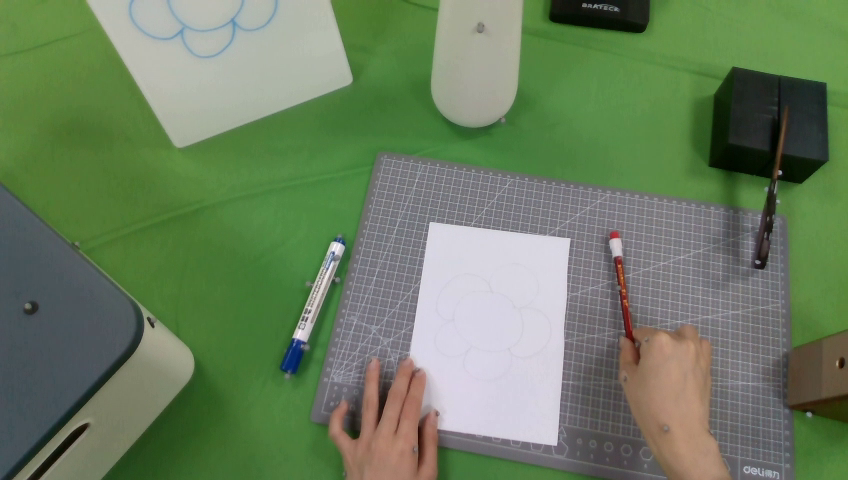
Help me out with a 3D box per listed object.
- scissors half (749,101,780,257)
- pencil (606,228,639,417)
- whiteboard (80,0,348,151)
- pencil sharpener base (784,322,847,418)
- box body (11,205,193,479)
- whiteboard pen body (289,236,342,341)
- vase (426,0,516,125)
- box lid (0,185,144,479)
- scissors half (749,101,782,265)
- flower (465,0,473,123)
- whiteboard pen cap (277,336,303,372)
[{"bbox_3d":[0.346,-0.065,0.607,0.013,0.040,0.174,10,70,24],"label":"scissors half"},{"bbox_3d":[0.197,0.076,0.599,0.012,0.012,0.192,0,65,1],"label":"pencil"},{"bbox_3d":[-0.235,-0.286,0.629,0.217,0.308,0.142,-23,50,-8],"label":"whiteboard"},{"bbox_3d":[0.385,0.119,0.537,0.076,0.107,0.061,13,68,3],"label":"pencil sharpener base"},{"bbox_3d":[-0.422,0.082,0.529,0.362,0.161,0.253,35,73,13],"label":"box body"},{"bbox_3d":[-0.113,0.059,0.613,0.017,0.017,0.140,16,67,7],"label":"whiteboard pen body"},{"bbox_3d":[0.049,-0.206,0.620,0.098,0.201,0.097,-1,67,2],"label":"vase"},{"bbox_3d":[-0.425,0.052,0.460,0.370,0.015,0.262,35,72,13],"label":"box lid"},{"bbox_3d":[0.355,-0.060,0.625,0.012,0.040,0.175,10,88,30],"label":"scissors half"},{"bbox_3d":[0.043,-0.251,0.548,0.044,0.365,0.038,3,50,5],"label":"flower"},{"bbox_3d":[-0.129,0.110,0.590,0.018,0.018,0.033,15,65,7],"label":"whiteboard pen cap"}]
